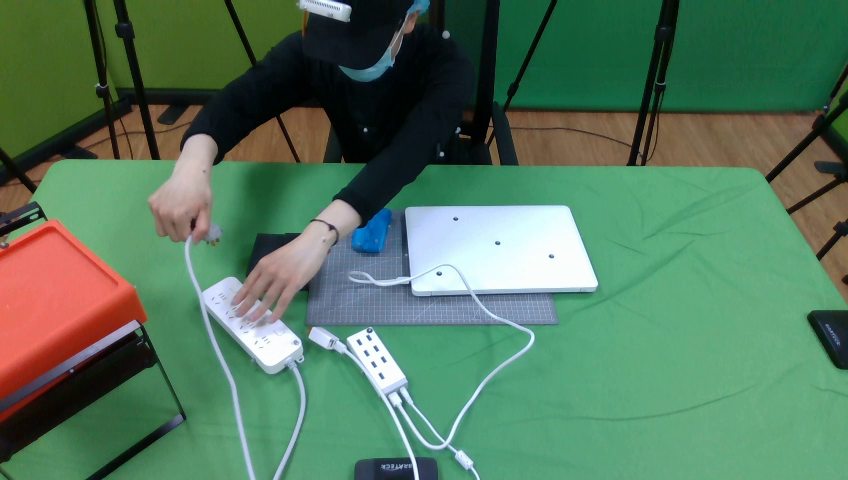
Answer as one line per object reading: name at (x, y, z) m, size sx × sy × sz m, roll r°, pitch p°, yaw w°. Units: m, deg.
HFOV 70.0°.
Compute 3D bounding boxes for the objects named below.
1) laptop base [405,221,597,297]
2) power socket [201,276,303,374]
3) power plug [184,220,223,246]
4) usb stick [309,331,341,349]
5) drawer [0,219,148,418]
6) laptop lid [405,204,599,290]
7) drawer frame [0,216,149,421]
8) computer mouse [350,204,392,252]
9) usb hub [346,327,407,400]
laptop base at (0.143, 0.018, 1.196) m, size 0.355 × 0.023 × 0.234 m, roll -1°, pitch 43°, yaw -6°
power socket at (-0.296, 0.141, 1.034) m, size 0.225 × 0.033 × 0.072 m, roll 37°, pitch 55°, yaw 27°
power plug at (-0.378, -0.005, 1.032) m, size 0.035 × 0.053 × 0.072 m, roll 28°, pitch 49°, yaw 33°
usb stick at (-0.172, 0.167, 1.021) m, size 0.059 × 0.021 × 0.027 m, roll 10°, pitch 3°, yaw 26°
drawer at (-0.509, 0.092, 0.783) m, size 0.193 × 0.073 × 0.211 m, roll 32°, pitch 53°, yaw 24°
laptop lid at (0.144, 0.008, 1.189) m, size 0.357 × 0.013 × 0.240 m, roll 0°, pitch 44°, yaw -5°
drawer frame at (-0.510, 0.093, 0.780) m, size 0.201 × 0.083 × 0.213 m, roll 31°, pitch 52°, yaw 23°
computer mouse at (-0.104, -0.027, 1.202) m, size 0.063 × 0.041 × 0.116 m, roll 11°, pitch 51°, yaw 3°
usb hub at (-0.078, 0.202, 0.998) m, size 0.049 × 0.025 × 0.124 m, roll -23°, pitch 53°, yaw -24°
